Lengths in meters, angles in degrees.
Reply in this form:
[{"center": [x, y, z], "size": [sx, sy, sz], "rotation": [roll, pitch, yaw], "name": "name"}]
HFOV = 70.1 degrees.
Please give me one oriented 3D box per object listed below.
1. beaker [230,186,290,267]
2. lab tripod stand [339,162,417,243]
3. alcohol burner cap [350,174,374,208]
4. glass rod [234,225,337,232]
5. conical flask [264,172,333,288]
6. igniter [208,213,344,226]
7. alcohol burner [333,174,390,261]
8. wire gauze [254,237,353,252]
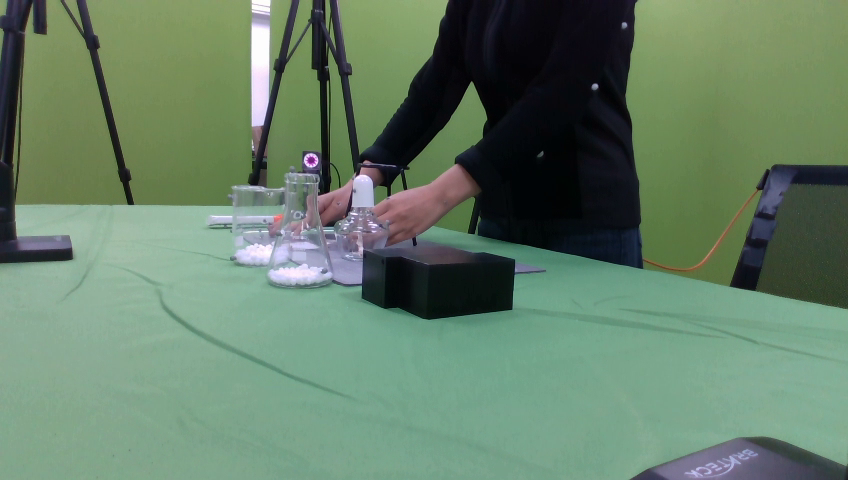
[{"center": [-0.209, -0.019, 0.778], "size": [0.074, 0.100, 0.084], "rotation": [3, 6, 4], "name": "beaker"}, {"center": [-0.067, -0.065, 1.027], "size": [0.148, 0.131, 0.148], "rotation": [4, 7, 0], "name": "lab tripod stand"}, {"center": [-0.085, -0.067, 0.829], "size": [0.034, 0.048, 0.034], "rotation": [0, 2, 0], "name": "alcohol burner cap"}, {"center": [-0.256, -0.022, 1.136], "size": [0.201, 0.008, 0.008], "rotation": [-3, 8, -33], "name": "glass rod"}, {"center": [-0.136, -0.013, 0.660], "size": [0.075, 0.122, 0.075], "rotation": [2, 7, 0], "name": "conical flask"}, {"center": [-0.283, -0.040, 1.200], "size": [0.278, 0.025, 0.057], "rotation": [-2, -2, -34], "name": "igniter"}, {"center": [-0.085, -0.031, 0.832], "size": [0.078, 0.119, 0.078], "rotation": [3, 6, 0], "name": "alcohol burner"}, {"center": [-0.188, 0.004, 0.940], "size": [0.122, 0.011, 0.124], "rotation": [-2, 6, -34], "name": "wire gauze"}]
